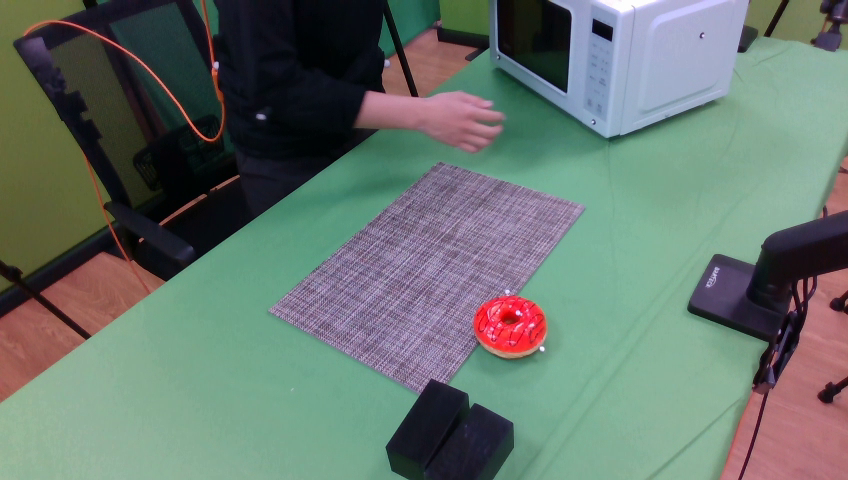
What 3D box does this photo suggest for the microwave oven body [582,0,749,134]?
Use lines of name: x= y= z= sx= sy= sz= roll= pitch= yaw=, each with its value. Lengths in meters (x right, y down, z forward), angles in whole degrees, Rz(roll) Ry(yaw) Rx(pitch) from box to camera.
microwave oven body: x=0.382 y=-0.445 z=1.246 sx=0.327 sy=0.261 sz=0.437 roll=-22 pitch=42 yaw=-16

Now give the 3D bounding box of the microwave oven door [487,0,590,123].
microwave oven door: x=0.232 y=-0.420 z=1.231 sx=0.039 sy=0.245 sz=0.352 roll=-22 pitch=43 yaw=-16

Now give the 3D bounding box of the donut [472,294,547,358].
donut: x=0.114 y=0.114 z=0.803 sx=0.099 sy=0.048 sz=0.098 roll=0 pitch=39 yaw=1

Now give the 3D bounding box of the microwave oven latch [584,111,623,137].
microwave oven latch: x=0.337 y=-0.222 z=1.142 sx=0.030 sy=0.029 sz=0.078 roll=-21 pitch=42 yaw=-14
